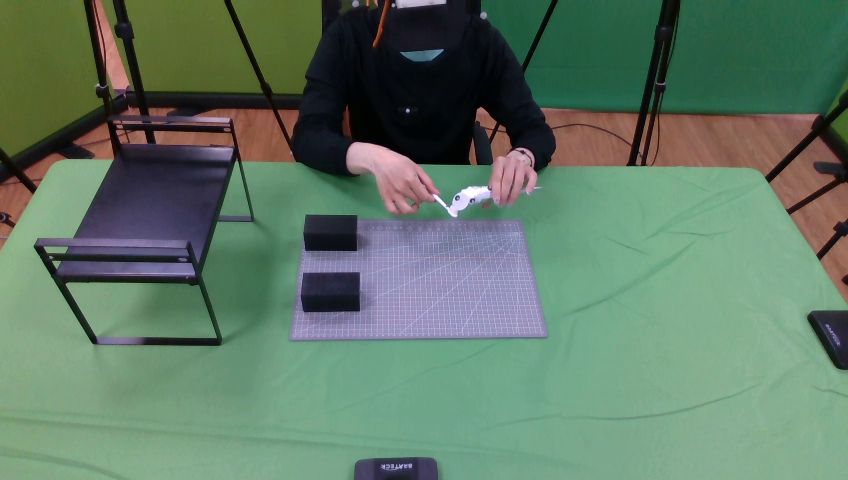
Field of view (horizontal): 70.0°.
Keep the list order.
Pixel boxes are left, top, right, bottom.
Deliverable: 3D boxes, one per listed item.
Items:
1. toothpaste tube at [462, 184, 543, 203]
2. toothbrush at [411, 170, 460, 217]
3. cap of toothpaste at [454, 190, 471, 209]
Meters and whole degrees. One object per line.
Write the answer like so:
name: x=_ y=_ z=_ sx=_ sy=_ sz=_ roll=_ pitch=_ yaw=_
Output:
toothpaste tube: x=0.145 y=-0.094 z=1.159 sx=0.165 sy=0.055 sz=0.034 roll=-9 pitch=93 yaw=-21
toothbrush: x=0.019 y=-0.097 z=1.191 sx=0.014 sy=0.017 sz=0.180 roll=1 pitch=31 yaw=-35
cap of toothpaste: x=0.068 y=-0.075 z=1.113 sx=0.037 sy=0.037 sz=0.011 roll=-20 pitch=31 yaw=-22
